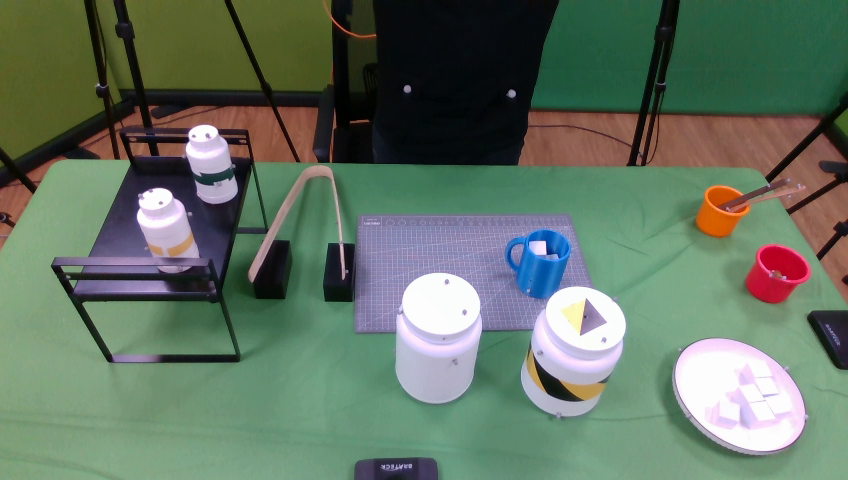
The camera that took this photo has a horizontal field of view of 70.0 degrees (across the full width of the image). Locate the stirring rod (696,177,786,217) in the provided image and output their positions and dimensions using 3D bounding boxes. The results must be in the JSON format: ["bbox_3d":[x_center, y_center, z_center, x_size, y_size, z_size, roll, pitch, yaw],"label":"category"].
[{"bbox_3d":[0.647,-0.087,1.244,0.176,0.006,0.014,-26,51,29],"label":"stirring rod"}]

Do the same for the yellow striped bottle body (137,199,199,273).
[{"bbox_3d":[-0.366,-0.014,0.863,0.063,0.121,0.062,2,46,-2],"label":"yellow striped bottle body"}]

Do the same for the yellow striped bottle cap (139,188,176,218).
[{"bbox_3d":[-0.363,-0.051,0.826,0.044,0.019,0.044,1,47,0],"label":"yellow striped bottle cap"}]

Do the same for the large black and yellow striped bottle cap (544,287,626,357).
[{"bbox_3d":[0.232,0.116,0.876,0.115,0.019,0.114,2,46,-1],"label":"large black and yellow striped bottle cap"}]

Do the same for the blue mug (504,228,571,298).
[{"bbox_3d":[0.202,0.036,1.116,0.116,0.106,0.082,22,49,16],"label":"blue mug"}]

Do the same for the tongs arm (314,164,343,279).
[{"bbox_3d":[-0.188,-0.049,1.170,0.051,0.026,0.382,-6,35,-6],"label":"tongs arm"}]

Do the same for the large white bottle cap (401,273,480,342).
[{"bbox_3d":[0.024,0.095,0.878,0.115,0.018,0.114,2,47,-2],"label":"large white bottle cap"}]

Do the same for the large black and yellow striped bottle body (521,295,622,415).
[{"bbox_3d":[0.228,0.173,0.938,0.131,0.185,0.130,2,47,-2],"label":"large black and yellow striped bottle body"}]

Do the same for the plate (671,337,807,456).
[{"bbox_3d":[0.503,0.254,0.984,0.208,0.039,0.206,2,46,-2],"label":"plate"}]

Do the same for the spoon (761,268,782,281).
[{"bbox_3d":[0.638,0.060,1.105,0.041,0.021,0.194,38,11,24],"label":"spoon"}]

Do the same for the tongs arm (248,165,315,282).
[{"bbox_3d":[-0.270,-0.047,1.165,0.028,0.028,0.385,-1,34,7],"label":"tongs arm"}]

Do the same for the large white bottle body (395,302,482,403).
[{"bbox_3d":[0.020,0.153,0.940,0.131,0.185,0.130,2,46,-2],"label":"large white bottle body"}]

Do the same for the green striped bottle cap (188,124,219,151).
[{"bbox_3d":[-0.339,-0.158,0.931,0.044,0.020,0.044,3,45,-3],"label":"green striped bottle cap"}]

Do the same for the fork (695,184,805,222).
[{"bbox_3d":[0.657,-0.074,1.229,0.207,0.019,0.028,-24,33,36],"label":"fork"}]

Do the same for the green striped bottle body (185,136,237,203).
[{"bbox_3d":[-0.341,-0.122,0.969,0.063,0.120,0.063,2,46,-2],"label":"green striped bottle body"}]
